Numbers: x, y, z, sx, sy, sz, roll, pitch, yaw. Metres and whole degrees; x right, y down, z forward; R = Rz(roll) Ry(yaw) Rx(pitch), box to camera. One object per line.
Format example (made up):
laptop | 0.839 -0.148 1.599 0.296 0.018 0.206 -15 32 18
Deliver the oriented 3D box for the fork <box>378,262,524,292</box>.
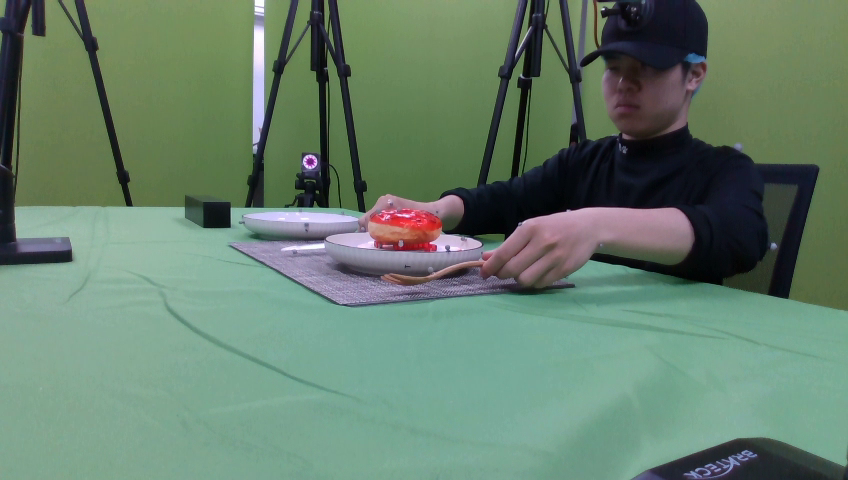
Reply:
fork | 0.038 0.037 0.672 0.208 0.018 0.028 -7 30 -36

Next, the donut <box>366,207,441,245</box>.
donut | -0.027 -0.017 0.786 0.099 0.048 0.099 3 7 0

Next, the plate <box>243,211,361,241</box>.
plate | -0.219 -0.025 1.092 0.208 0.039 0.207 3 7 0

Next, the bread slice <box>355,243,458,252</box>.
bread slice | -0.027 0.019 0.794 0.131 0.019 0.105 5 7 17

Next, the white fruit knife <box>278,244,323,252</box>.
white fruit knife | -0.116 0.007 0.895 0.208 0.016 0.027 -6 20 -34

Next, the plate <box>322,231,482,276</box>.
plate | -0.028 0.018 0.789 0.209 0.038 0.209 3 7 0
